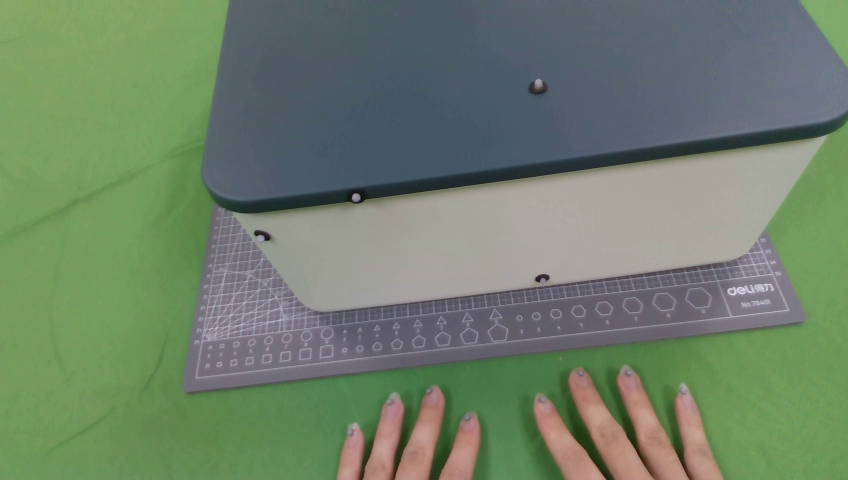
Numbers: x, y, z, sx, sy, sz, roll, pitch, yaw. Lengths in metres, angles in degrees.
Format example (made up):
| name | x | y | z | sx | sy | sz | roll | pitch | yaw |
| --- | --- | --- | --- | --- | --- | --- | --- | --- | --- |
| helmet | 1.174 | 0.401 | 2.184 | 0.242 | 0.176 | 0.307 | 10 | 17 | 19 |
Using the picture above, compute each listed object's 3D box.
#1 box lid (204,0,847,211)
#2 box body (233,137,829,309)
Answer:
| name | x | y | z | sx | sy | sz | roll | pitch | yaw |
| --- | --- | --- | --- | --- | --- | --- | --- | --- | --- |
| box lid | 0.047 | -0.143 | 0.398 | 0.371 | 0.015 | 0.260 | -7 | 56 | 3 |
| box body | 0.058 | -0.101 | 0.459 | 0.364 | 0.162 | 0.251 | -7 | 55 | 3 |
